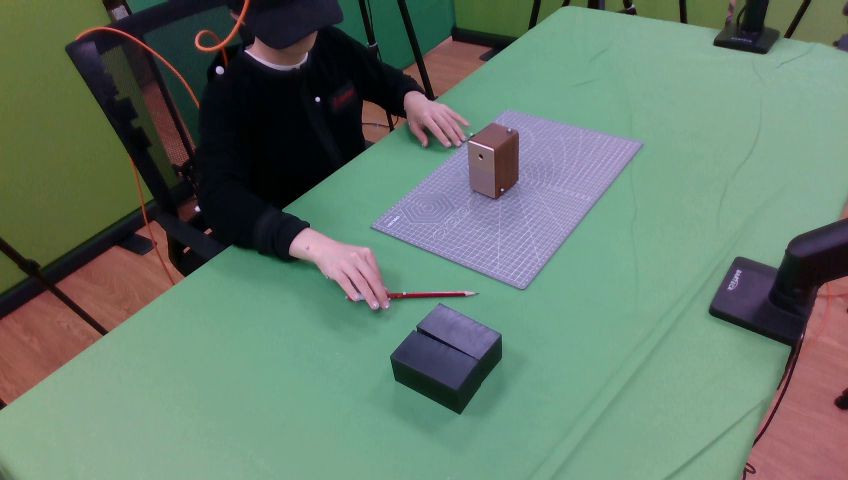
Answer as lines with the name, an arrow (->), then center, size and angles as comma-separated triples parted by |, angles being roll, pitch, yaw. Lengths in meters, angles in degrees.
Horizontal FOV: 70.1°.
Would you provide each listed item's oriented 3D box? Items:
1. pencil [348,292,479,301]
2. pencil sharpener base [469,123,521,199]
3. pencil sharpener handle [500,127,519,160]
pencil -> -0.016, 0.083, 0.893 | 0.194, 0.012, 0.012 | -2, 41, 5
pencil sharpener base -> 0.126, -0.138, 1.049 | 0.061, 0.107, 0.077 | 26, 50, 34
pencil sharpener handle -> 0.157, -0.175, 1.069 | 0.035, 0.068, 0.031 | 31, 53, 29
